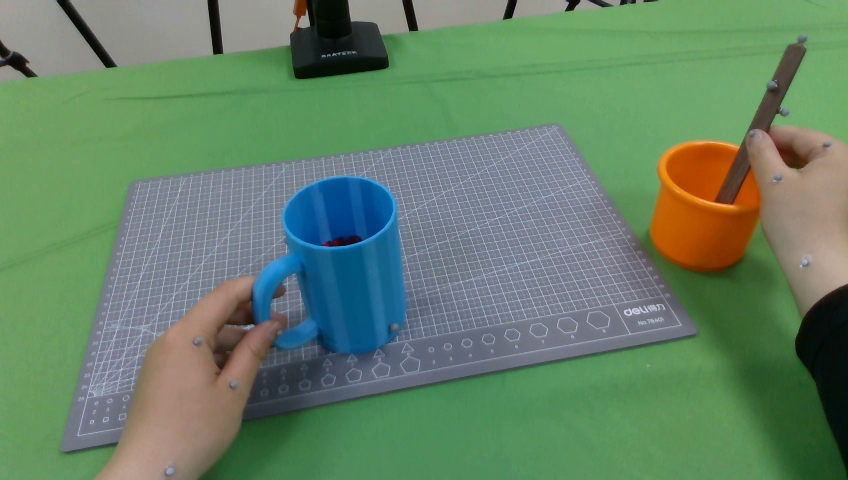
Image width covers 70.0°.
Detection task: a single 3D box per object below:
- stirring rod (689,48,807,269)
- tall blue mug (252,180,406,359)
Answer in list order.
[{"bbox_3d":[0.247,-0.058,0.466,0.006,0.177,0.014,2,24,-42],"label":"stirring rod"},{"bbox_3d":[-0.059,0.032,0.424,0.077,0.109,0.106,13,45,15],"label":"tall blue mug"}]
